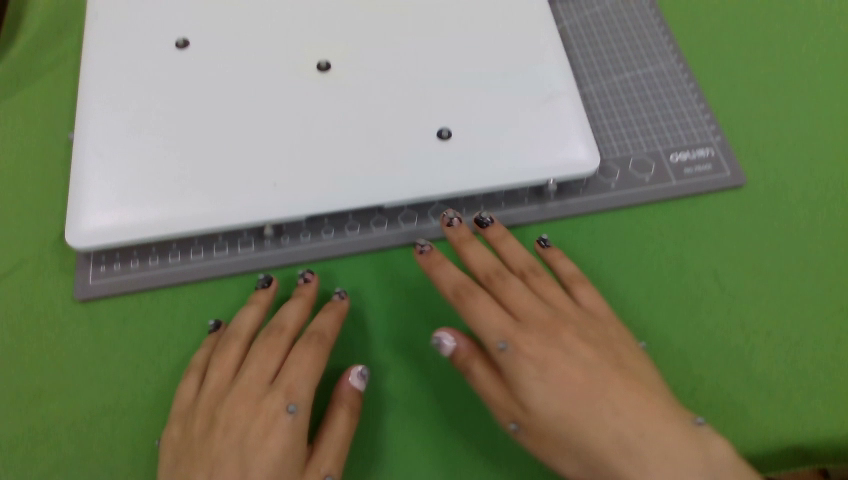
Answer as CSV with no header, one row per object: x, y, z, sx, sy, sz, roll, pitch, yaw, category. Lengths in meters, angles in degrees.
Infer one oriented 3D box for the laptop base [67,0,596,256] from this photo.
-0.073,-0.114,0.454,0.355,0.023,0.233,-9,65,-5,laptop base

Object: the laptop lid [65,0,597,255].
-0.073,-0.118,0.443,0.357,0.013,0.239,-7,64,-4,laptop lid
